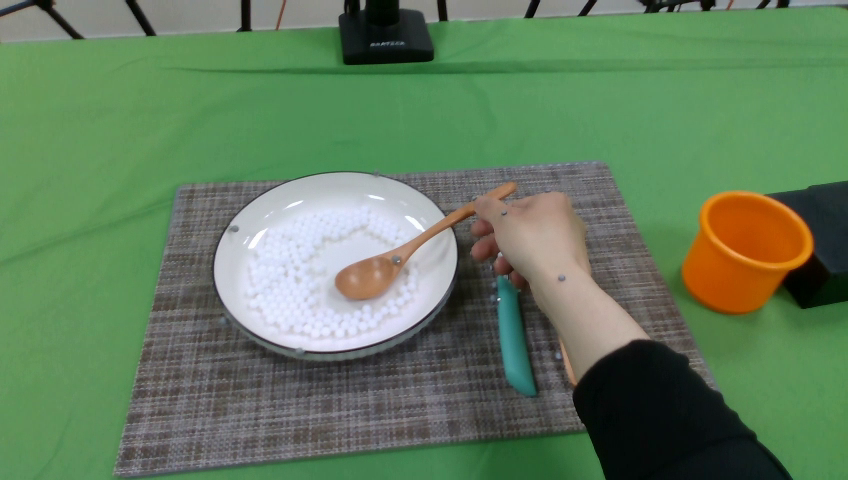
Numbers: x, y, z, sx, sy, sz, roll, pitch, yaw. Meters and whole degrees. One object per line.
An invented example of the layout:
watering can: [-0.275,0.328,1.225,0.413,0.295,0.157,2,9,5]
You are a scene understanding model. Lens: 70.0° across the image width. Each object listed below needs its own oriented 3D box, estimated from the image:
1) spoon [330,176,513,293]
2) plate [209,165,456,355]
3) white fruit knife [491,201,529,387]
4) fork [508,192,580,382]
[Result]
spoon: [0.003,-0.009,0.536,0.194,0.022,0.041,-33,55,-14]
plate: [-0.076,0.015,0.530,0.209,0.038,0.207,2,47,-1]
white fruit knife: [0.070,0.036,0.534,0.027,0.016,0.205,20,42,-18]
fork: [0.105,0.032,0.536,0.028,0.019,0.205,3,46,-14]
